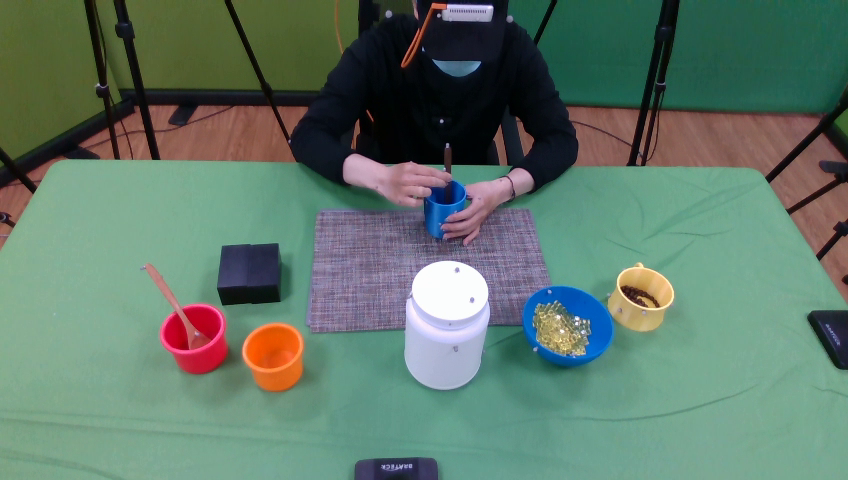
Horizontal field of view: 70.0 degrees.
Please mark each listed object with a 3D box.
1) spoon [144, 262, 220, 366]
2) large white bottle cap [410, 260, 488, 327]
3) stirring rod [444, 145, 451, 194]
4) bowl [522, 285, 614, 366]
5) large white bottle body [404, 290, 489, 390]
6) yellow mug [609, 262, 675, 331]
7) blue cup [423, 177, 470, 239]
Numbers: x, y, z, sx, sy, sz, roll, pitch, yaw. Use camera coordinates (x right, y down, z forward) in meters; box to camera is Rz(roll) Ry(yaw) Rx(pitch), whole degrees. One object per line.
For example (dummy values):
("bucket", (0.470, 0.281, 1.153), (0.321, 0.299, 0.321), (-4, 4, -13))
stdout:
("spoon", (-0.389, 0.118, 0.971), (0.041, 0.021, 0.194), (-34, 101, -33))
("large white bottle cap", (0.037, 0.077, 0.893), (0.115, 0.018, 0.114), (2, 47, -2))
("stirring rod", (0.045, -0.108, 1.176), (0.014, 0.177, 0.006), (-20, 45, -19))
("bowl", (0.235, 0.158, 1.022), (0.151, 0.077, 0.150), (2, 46, -2))
("large white bottle body", (0.034, 0.136, 0.955), (0.131, 0.185, 0.130), (2, 46, -2))
("yellow mug", (0.393, 0.094, 1.103), (0.100, 0.064, 0.130), (7, 45, 4))
("blue cup", (0.037, -0.058, 1.195), (0.093, 0.101, 0.092), (2, 44, -2))
